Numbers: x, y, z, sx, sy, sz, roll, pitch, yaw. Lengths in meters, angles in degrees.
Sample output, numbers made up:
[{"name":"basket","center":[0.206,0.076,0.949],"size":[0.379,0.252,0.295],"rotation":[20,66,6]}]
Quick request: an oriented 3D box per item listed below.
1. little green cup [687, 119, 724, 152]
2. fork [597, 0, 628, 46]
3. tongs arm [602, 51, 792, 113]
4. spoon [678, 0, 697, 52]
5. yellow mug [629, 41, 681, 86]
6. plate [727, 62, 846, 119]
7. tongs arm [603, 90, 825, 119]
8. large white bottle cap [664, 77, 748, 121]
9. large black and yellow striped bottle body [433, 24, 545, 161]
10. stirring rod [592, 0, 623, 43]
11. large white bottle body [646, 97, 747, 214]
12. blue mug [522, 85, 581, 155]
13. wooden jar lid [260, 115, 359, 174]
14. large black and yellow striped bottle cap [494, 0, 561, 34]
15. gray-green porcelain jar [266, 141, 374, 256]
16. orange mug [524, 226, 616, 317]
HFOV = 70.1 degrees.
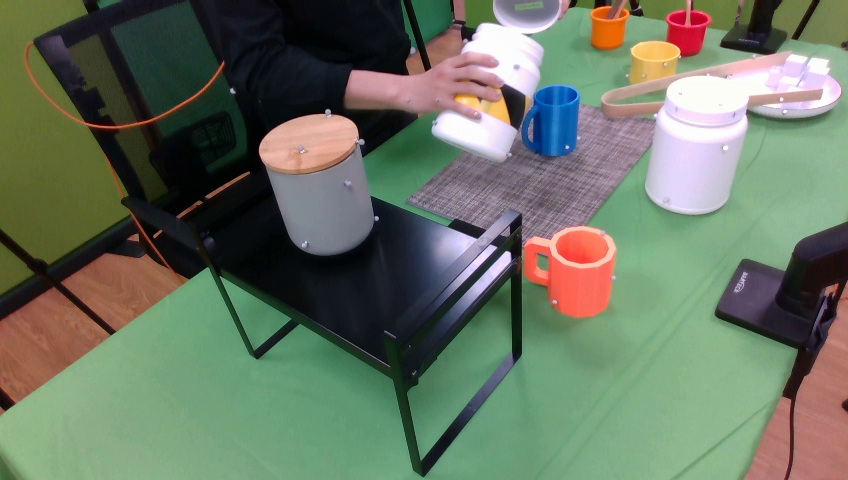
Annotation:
[{"name":"little green cup","center":[0.514,-0.191,1.109],"size":[0.061,0.039,0.061],"rotation":[-5,40,5]},{"name":"fork","center":[0.479,-0.558,1.455],"size":[0.028,0.019,0.207],"rotation":[35,100,38]},{"name":"tongs arm","center":[0.552,-0.319,1.224],"size":[0.384,0.027,0.050],"rotation":[-10,43,7]},{"name":"spoon","center":[0.614,-0.526,1.402],"size":[0.041,0.022,0.193],"rotation":[3,86,11]},{"name":"yellow mug","center":[0.495,-0.389,1.321],"size":[0.100,0.064,0.130],"rotation":[-14,40,-7]},{"name":"plate","center":[0.709,-0.292,1.198],"size":[0.207,0.039,0.206],"rotation":[-4,40,4]},{"name":"tongs arm","center":[0.546,-0.262,1.163],"size":[0.386,0.028,0.028],"rotation":[-1,49,18]},{"name":"large white bottle cap","center":[0.421,-0.212,0.905],"size":[0.115,0.018,0.114],"rotation":[-4,40,4]},{"name":"large black and yellow striped bottle body","center":[0.105,-0.230,0.952],"size":[0.131,0.184,0.130],"rotation":[23,6,-2]},{"name":"stirring rod","center":[0.460,-0.557,1.461],"size":[0.014,0.176,0.006],"rotation":[35,11,22]},{"name":"large white bottle body","center":[0.431,-0.148,0.959],"size":[0.130,0.185,0.130],"rotation":[-4,41,4]},{"name":"blue mug","center":[0.233,-0.218,1.127],"size":[0.117,0.106,0.081],"rotation":[-23,43,-16]},{"name":"wooden jar lid","center":[-0.124,-0.101,0.662],"size":[0.108,0.021,0.108],"rotation":[-4,41,4]},{"name":"large black and yellow striped bottle cap","center":[0.178,-0.404,1.038],"size":[0.114,0.115,0.018],"rotation":[4,63,13]},{"name":"gray-green porcelain jar","center":[-0.117,-0.054,0.703],"size":[0.106,0.127,0.105],"rotation":[-4,40,4]},{"name":"orange mug","center":[0.201,0.039,0.845],"size":[0.125,0.101,0.083],"rotation":[18,47,21]}]
